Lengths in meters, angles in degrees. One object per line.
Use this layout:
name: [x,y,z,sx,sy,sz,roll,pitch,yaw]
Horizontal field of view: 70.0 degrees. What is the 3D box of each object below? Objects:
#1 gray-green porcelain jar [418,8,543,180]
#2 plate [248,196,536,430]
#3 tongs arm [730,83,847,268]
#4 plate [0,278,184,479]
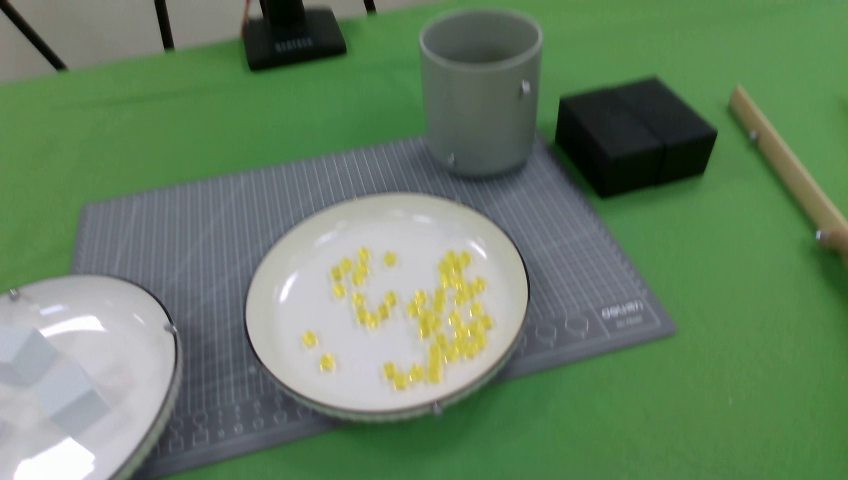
gray-green porcelain jar: [0.051,-0.127,0.551,0.106,0.128,0.105,-2,46,3]
plate: [-0.023,0.049,0.453,0.207,0.039,0.205,-2,46,3]
tongs arm: [0.340,-0.013,0.491,0.028,0.028,0.383,-4,47,-4]
plate: [-0.263,0.116,0.408,0.209,0.038,0.207,-3,47,4]
